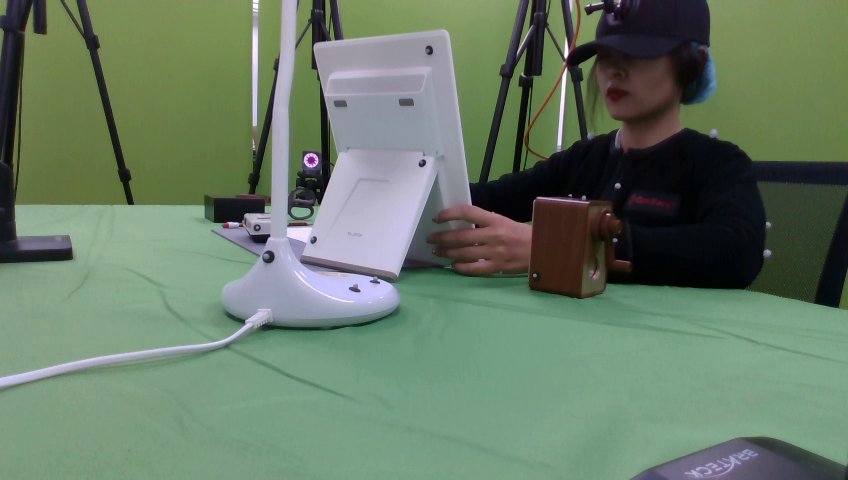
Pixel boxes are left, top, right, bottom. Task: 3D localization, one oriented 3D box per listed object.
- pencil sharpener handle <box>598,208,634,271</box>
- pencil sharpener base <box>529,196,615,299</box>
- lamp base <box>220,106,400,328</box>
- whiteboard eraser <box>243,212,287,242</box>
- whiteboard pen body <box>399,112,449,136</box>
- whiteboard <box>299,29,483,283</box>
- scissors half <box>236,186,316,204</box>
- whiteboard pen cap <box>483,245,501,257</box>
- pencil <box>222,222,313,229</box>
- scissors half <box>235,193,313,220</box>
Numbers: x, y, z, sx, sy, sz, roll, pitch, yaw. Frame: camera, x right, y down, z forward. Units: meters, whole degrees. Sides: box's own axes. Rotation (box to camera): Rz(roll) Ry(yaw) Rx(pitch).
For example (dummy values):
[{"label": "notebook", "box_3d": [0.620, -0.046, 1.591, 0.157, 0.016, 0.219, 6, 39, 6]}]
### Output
[{"label": "pencil sharpener handle", "box_3d": [0.208, 0.000, 0.644, 0.030, 0.068, 0.036, 10, 23, 42]}, {"label": "pencil sharpener base", "box_3d": [0.168, 0.007, 0.678, 0.076, 0.107, 0.062, 10, 10, 42]}, {"label": "lamp base", "box_3d": [-0.101, -0.023, 0.531, 0.160, 0.180, 0.179, 4, 10, 10]}, {"label": "whiteboard eraser", "box_3d": [-0.260, -0.021, 0.982, 0.056, 0.042, 0.112, 0, 8, -23]}, {"label": "whiteboard pen body", "box_3d": [0.000, -0.162, 0.838, 0.017, 0.017, 0.141, 6, 3, 27]}, {"label": "whiteboard", "box_3d": [-0.074, -0.082, 0.742, 0.216, 0.305, 0.144, 9, 29, 37]}, {"label": "scissors half", "box_3d": [-0.320, -0.097, 1.316, 0.176, 0.040, 0.013, -3, 11, -29]}, {"label": "whiteboard pen cap", "box_3d": [0.104, 0.017, 0.936, 0.018, 0.018, 0.033, -1, 4, -22]}, {"label": "pencil", "box_3d": [-0.302, -0.030, 1.189, 0.195, 0.012, 0.012, -2, 9, -42]}, {"label": "scissors half", "box_3d": [-0.324, -0.077, 1.319, 0.176, 0.040, 0.012, 17, 6, -31]}]
